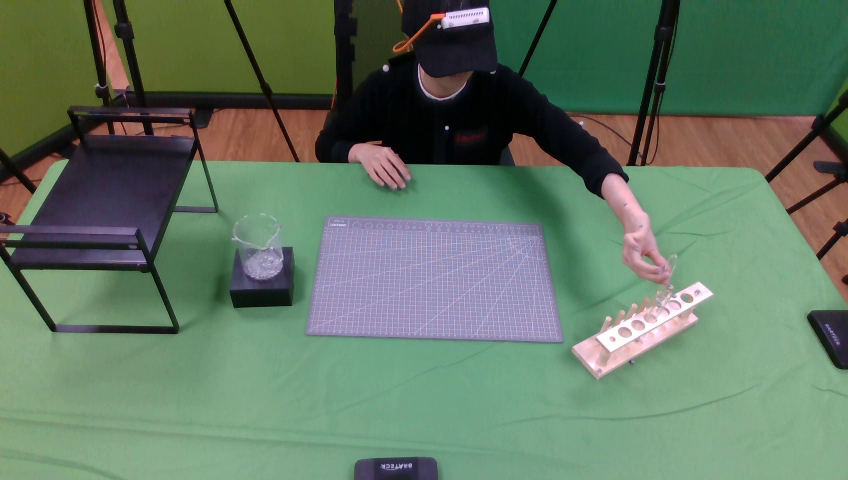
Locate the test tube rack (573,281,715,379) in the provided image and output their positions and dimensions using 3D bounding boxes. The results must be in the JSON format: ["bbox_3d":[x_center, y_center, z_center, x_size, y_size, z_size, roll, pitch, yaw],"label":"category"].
[{"bbox_3d":[0.378,0.140,1.038,0.242,0.085,0.066,-22,51,-23],"label":"test tube rack"}]

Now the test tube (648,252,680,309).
[{"bbox_3d":[0.404,0.073,1.021,0.017,0.151,0.017,0,46,1],"label":"test tube"}]

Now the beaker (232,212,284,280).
[{"bbox_3d":[-0.280,0.016,1.037,0.074,0.101,0.083,-18,50,-20],"label":"beaker"}]

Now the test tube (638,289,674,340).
[{"bbox_3d":[0.373,0.124,0.983,0.017,0.151,0.017,0,54,0],"label":"test tube"}]
